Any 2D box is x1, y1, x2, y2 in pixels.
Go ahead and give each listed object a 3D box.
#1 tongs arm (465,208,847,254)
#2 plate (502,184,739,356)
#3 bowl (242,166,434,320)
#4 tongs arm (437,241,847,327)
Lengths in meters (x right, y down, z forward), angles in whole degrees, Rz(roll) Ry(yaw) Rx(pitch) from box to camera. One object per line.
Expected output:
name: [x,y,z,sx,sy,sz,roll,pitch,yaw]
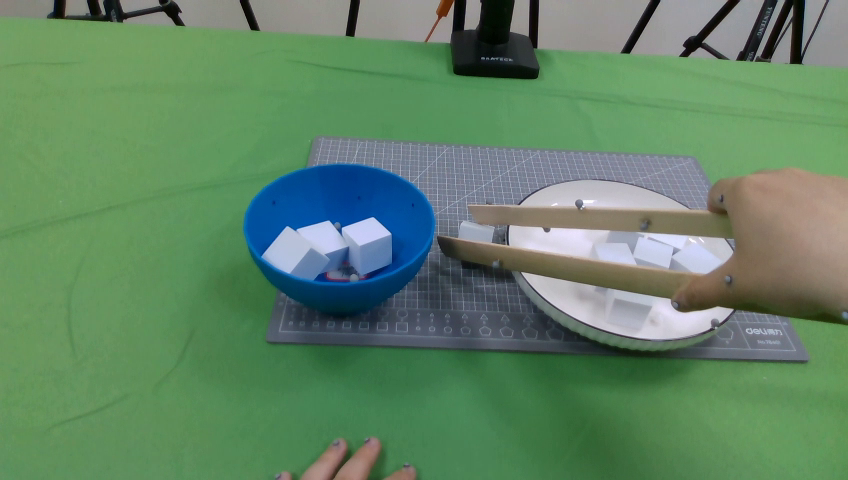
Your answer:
tongs arm: [0.172,0.003,0.419,0.382,0.027,0.050,4,43,43]
plate: [0.172,0.025,0.548,0.208,0.039,0.205,3,42,-3]
bowl: [-0.069,0.013,0.504,0.151,0.077,0.150,3,42,-3]
tongs arm: [0.154,0.023,0.404,0.384,0.028,0.028,6,42,44]
